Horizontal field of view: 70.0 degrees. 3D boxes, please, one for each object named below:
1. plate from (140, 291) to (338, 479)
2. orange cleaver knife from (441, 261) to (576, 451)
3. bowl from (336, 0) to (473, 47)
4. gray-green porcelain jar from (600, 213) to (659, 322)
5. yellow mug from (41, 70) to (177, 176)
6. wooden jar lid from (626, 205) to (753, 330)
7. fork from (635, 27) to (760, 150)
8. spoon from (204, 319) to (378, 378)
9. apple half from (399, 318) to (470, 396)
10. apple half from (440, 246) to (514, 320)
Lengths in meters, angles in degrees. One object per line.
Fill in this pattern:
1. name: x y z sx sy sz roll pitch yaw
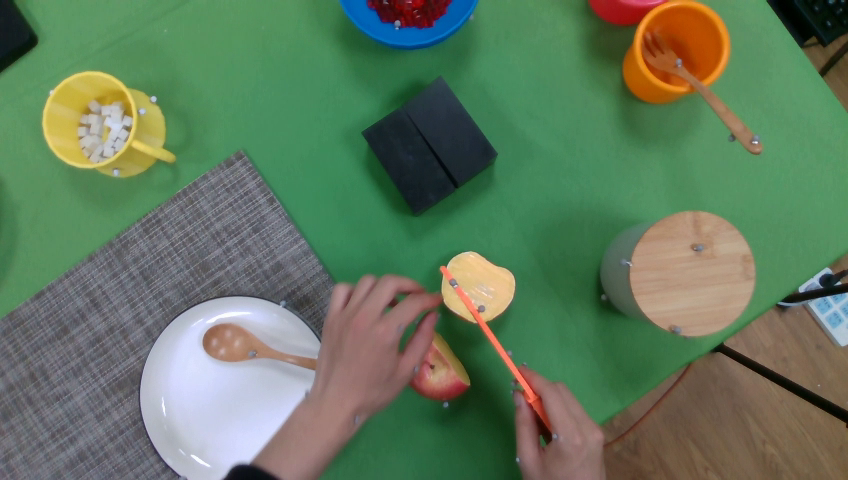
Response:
1. plate: -0.194 0.157 0.647 0.209 0.038 0.209 0 90 2
2. orange cleaver knife: 0.077 0.107 0.554 0.012 0.076 0.213 -35 108 -1
3. bowl: -0.017 -0.265 0.627 0.151 0.077 0.151 0 90 2
4. gray-green porcelain jar: 0.233 0.027 0.590 0.106 0.126 0.105 0 89 3
5. yellow mug: -0.325 -0.116 0.645 0.131 0.064 0.100 26 90 2
6. wooden jar lid: 0.229 0.024 0.529 0.108 0.020 0.108 0 91 1
7. fork: 0.257 -0.150 0.579 0.028 0.019 0.205 -19 45 1
8. spoon: -0.140 0.119 0.632 0.193 0.022 0.041 11 84 14
9. apple half: 0.004 0.127 0.626 0.053 0.074 0.081 -38 91 5
10. apple half: 0.052 0.051 0.640 0.081 0.033 0.080 1 65 -2
